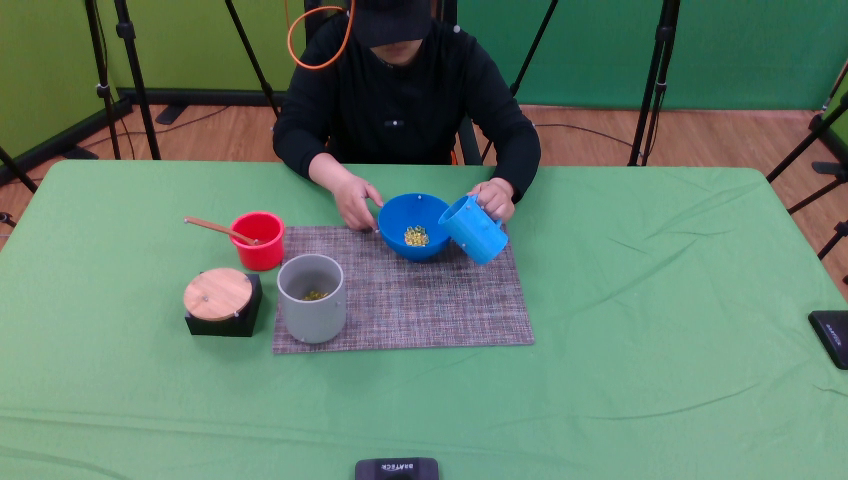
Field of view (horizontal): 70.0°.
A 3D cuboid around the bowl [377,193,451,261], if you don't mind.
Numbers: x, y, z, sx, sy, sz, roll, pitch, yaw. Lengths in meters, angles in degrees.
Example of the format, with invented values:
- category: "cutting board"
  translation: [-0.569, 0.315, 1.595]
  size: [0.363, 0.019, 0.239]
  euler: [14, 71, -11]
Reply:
- category: "bowl"
  translation: [-0.015, -0.013, 1.166]
  size: [0.151, 0.077, 0.150]
  euler: [2, 46, -2]

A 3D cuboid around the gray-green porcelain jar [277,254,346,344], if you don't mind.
- category: "gray-green porcelain jar"
  translation: [-0.184, 0.102, 1.008]
  size: [0.106, 0.127, 0.105]
  euler: [2, 46, -2]

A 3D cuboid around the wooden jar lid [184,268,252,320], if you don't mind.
- category: "wooden jar lid"
  translation: [-0.343, 0.092, 1.015]
  size: [0.108, 0.021, 0.107]
  euler: [3, 46, -3]

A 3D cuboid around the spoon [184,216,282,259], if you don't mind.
- category: "spoon"
  translation: [-0.341, -0.008, 1.096]
  size: [0.021, 0.195, 0.041]
  euler: [-36, 47, 25]

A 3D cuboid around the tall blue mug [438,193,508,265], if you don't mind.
- category: "tall blue mug"
  translation: [0.092, -0.026, 1.107]
  size: [0.108, 0.078, 0.107]
  euler: [45, 29, -13]
